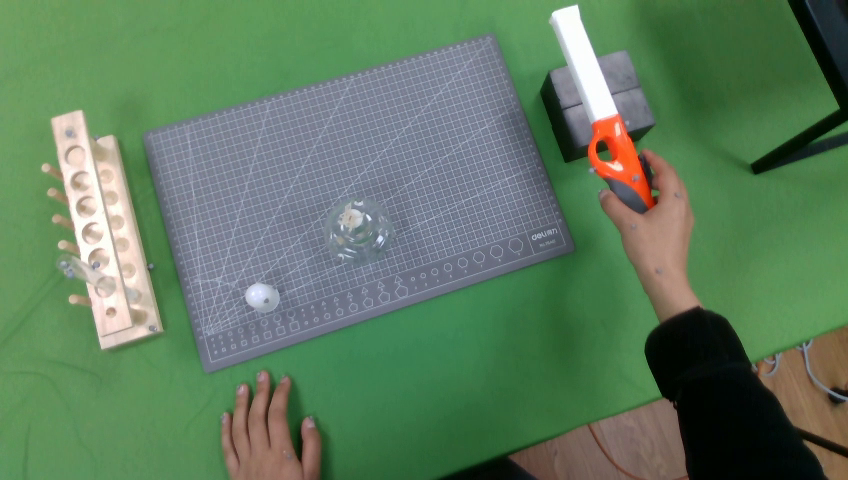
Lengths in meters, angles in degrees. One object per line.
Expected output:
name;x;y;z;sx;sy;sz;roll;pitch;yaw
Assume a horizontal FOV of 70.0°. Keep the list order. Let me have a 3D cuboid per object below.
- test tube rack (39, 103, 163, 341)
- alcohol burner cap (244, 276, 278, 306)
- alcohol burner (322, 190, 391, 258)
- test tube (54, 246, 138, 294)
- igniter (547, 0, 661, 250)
test tube rack;-0.363;-0.017;0.664;0.067;0.085;0.241;-18;81;-5
alcohol burner cap;-0.184;0.055;0.678;0.034;0.048;0.033;0;78;-2
alcohol burner;-0.075;-0.020;0.660;0.078;0.119;0.077;0;80;-2
test tube;-0.323;0.033;0.606;0.017;0.151;0.017;1;73;-2
igniter;0.192;-0.124;0.643;0.057;0.025;0.276;-18;85;-7
